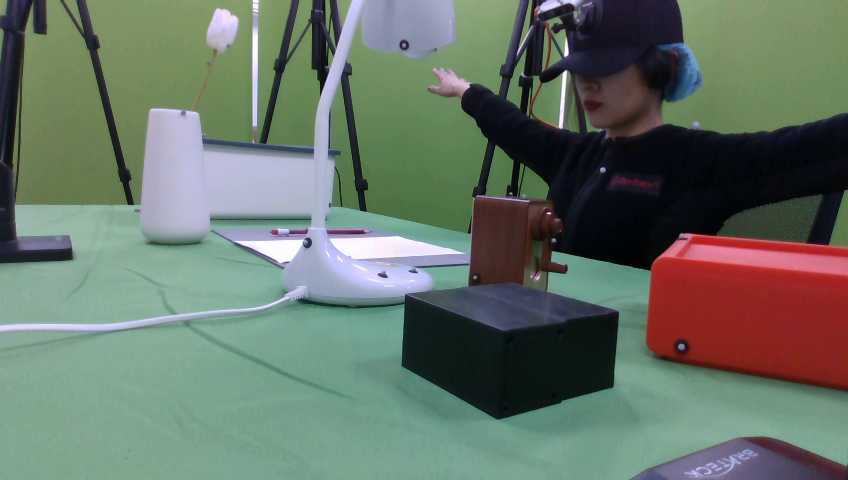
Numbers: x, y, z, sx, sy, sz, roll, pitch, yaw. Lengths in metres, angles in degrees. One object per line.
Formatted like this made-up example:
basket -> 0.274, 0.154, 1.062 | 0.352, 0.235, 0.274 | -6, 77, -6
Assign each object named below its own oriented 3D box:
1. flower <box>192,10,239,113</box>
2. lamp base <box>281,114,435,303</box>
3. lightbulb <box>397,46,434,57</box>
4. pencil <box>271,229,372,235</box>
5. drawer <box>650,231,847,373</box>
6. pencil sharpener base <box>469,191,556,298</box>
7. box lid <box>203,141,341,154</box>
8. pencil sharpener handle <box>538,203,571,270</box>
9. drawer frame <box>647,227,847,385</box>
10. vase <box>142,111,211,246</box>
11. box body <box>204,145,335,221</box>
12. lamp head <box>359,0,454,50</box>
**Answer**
flower -> -0.354, -0.174, 0.915 | 0.038, 0.361, 0.044 | 18, -3, 12
lamp base -> -0.071, -0.035, 0.614 | 0.160, 0.180, 0.180 | 6, 10, 27
lightbulb -> -0.017, -0.264, 0.691 | 0.059, 0.108, 0.059 | -8, 29, 5
pencil -> -0.178, -0.014, 1.081 | 0.195, 0.012, 0.012 | 0, 8, -34
drawer -> 0.303, 0.044, 0.499 | 0.194, 0.073, 0.212 | 7, 9, 27
pencil sharpener base -> 0.098, 0.003, 0.652 | 0.076, 0.107, 0.061 | 8, 9, 38
box lid -> -0.396, -0.212, 1.373 | 0.373, 0.015, 0.262 | -1, 9, -29
pencil sharpener handle -> 0.137, -0.003, 0.619 | 0.030, 0.067, 0.036 | 8, 5, 38
drawer frame -> 0.303, 0.043, 0.495 | 0.201, 0.082, 0.214 | 6, 9, 26
vase -> -0.378, -0.093, 0.920 | 0.098, 0.200, 0.098 | 2, 9, 0
box body -> -0.411, -0.135, 1.386 | 0.366, 0.160, 0.253 | -2, 9, -29
lamp head -> -0.024, -0.283, 0.674 | 0.112, 0.123, 0.112 | -3, 38, 3
